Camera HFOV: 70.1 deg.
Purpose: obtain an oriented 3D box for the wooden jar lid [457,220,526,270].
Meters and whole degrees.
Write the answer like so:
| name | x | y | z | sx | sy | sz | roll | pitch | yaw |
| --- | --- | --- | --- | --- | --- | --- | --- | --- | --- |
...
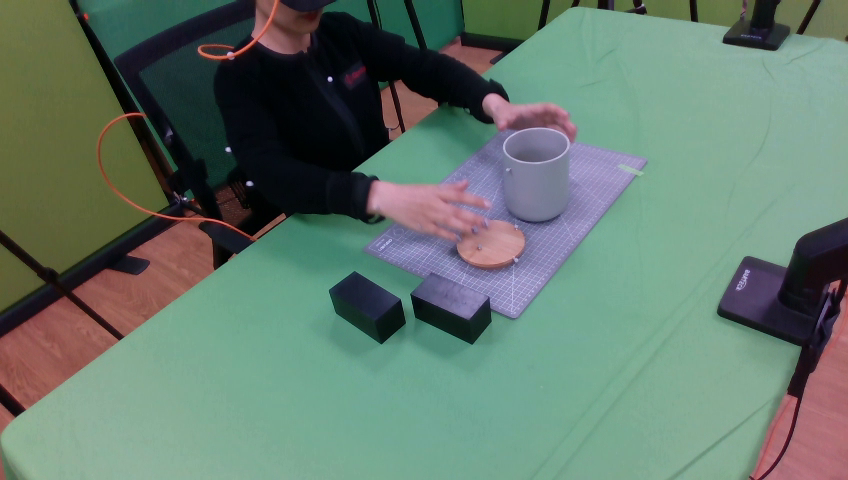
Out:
| name | x | y | z | sx | sy | sz | roll | pitch | yaw |
| --- | --- | --- | --- | --- | --- | --- | --- | --- | --- |
| wooden jar lid | 0.106 | 0.009 | 0.950 | 0.108 | 0.021 | 0.108 | -4 | 40 | 4 |

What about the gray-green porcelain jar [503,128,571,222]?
| name | x | y | z | sx | sy | sz | roll | pitch | yaw |
| --- | --- | --- | --- | --- | --- | --- | --- | --- | --- |
| gray-green porcelain jar | 0.184 | -0.102 | 0.983 | 0.106 | 0.127 | 0.105 | -5 | 40 | 5 |
